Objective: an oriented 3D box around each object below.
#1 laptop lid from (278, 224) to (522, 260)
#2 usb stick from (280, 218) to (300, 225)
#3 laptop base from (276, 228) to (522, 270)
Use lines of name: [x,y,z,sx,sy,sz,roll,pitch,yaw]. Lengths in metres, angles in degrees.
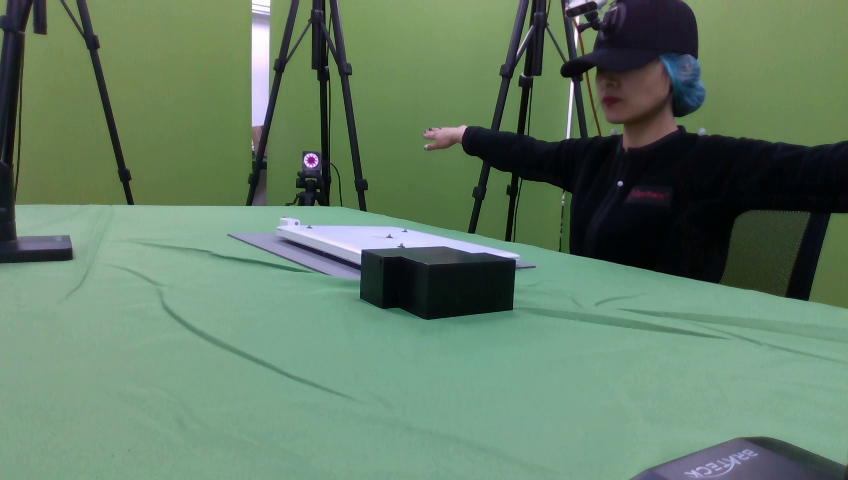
laptop lid: [-0.052,-0.001,0.909,0.243,0.013,0.355,0,7,-32]
usb stick: [-0.225,-0.023,1.024,0.021,0.027,0.059,0,9,-31]
laptop base: [-0.054,0.011,0.910,0.237,0.023,0.352,1,6,-33]
